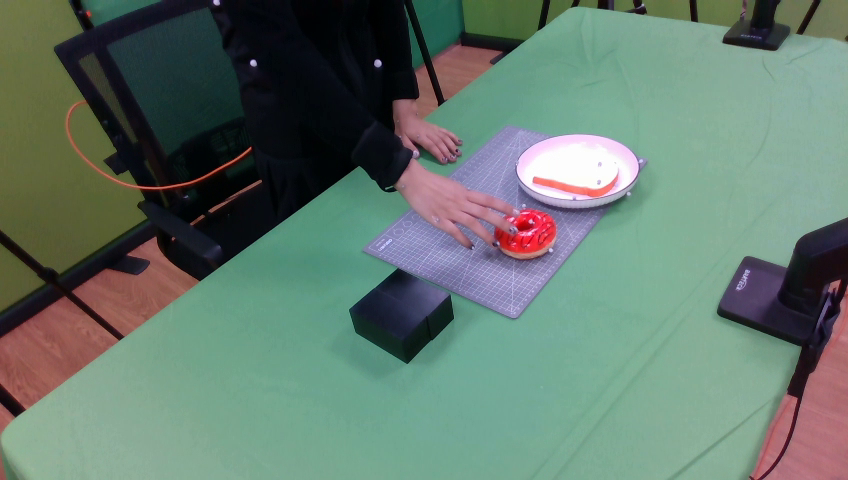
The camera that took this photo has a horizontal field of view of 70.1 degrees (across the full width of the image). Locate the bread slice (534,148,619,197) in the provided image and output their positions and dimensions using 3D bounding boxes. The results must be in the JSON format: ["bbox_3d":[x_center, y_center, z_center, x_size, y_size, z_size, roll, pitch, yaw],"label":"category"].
[{"bbox_3d":[0.274,-0.119,1.058,0.130,0.019,0.105,19,48,30],"label":"bread slice"}]

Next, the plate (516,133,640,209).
[{"bbox_3d":[0.266,-0.117,1.055,0.209,0.038,0.208,-5,40,5],"label":"plate"}]

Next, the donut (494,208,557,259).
[{"bbox_3d":[0.159,-0.011,0.945,0.099,0.048,0.098,-7,41,6],"label":"donut"}]
